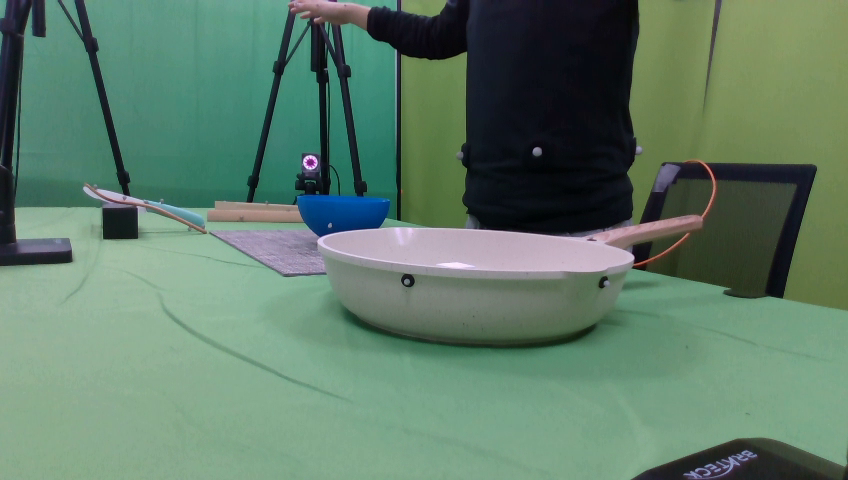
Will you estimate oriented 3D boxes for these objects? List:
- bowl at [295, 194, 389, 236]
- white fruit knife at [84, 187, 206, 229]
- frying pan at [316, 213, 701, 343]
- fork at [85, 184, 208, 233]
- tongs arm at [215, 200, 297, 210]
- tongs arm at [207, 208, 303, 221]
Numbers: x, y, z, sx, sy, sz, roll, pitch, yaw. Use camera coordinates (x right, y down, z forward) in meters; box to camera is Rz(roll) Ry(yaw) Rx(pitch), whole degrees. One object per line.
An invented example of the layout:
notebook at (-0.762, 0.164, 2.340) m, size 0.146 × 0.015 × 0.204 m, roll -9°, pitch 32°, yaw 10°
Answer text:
bowl at (-0.132, -0.032, 0.980) m, size 0.151 × 0.077 × 0.151 m, roll 2°, pitch 7°, yaw 0°
white fruit knife at (-0.488, -0.059, 1.071) m, size 0.208 × 0.027 × 0.016 m, roll 17°, pitch 4°, yaw -33°
frying pan at (0.133, 0.013, 0.629) m, size 0.490 × 0.102 × 0.305 m, roll -12°, pitch 14°, yaw -30°
fork at (-0.462, -0.051, 1.019) m, size 0.208 × 0.018 × 0.028 m, roll 22°, pitch -10°, yaw -37°
tongs arm at (-0.295, -0.069, 1.425) m, size 0.386 × 0.026 × 0.050 m, roll 2°, pitch 8°, yaw -9°
tongs arm at (-0.277, -0.055, 1.347) m, size 0.389 × 0.028 × 0.028 m, roll 0°, pitch 5°, yaw -22°
